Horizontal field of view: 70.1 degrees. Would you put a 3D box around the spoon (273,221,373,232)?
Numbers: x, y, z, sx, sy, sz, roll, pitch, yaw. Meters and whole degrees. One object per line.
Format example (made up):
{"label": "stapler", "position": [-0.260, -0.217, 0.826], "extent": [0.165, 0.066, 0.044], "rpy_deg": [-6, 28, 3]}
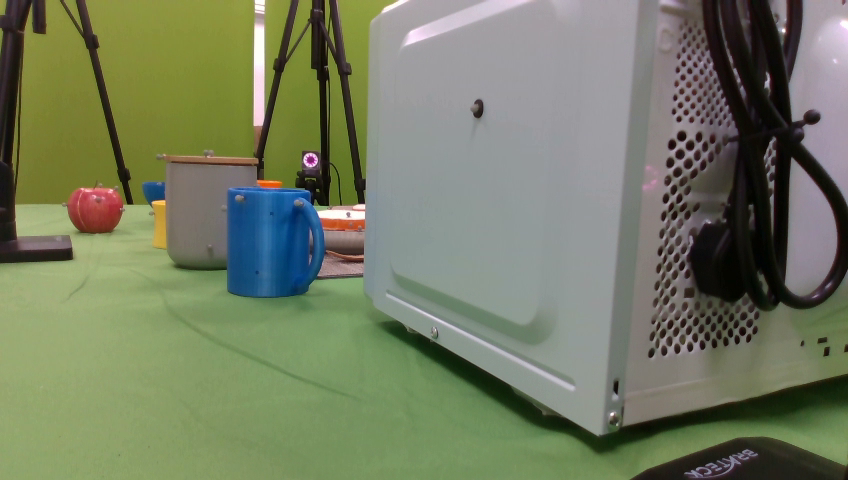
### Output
{"label": "spoon", "position": [-0.181, -0.027, 1.109], "extent": [0.195, 0.021, 0.041], "rpy_deg": [-4, -13, -33]}

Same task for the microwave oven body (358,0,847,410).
{"label": "microwave oven body", "position": [0.210, -0.051, 0.471], "extent": [0.444, 0.260, 0.324], "rpy_deg": [-1, 7, -28]}

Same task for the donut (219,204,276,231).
{"label": "donut", "position": [-0.316, -0.039, 1.083], "extent": [0.099, 0.048, 0.099], "rpy_deg": [2, 7, 0]}

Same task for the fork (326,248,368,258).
{"label": "fork", "position": [-0.032, 0.015, 0.835], "extent": [0.208, 0.018, 0.028], "rpy_deg": [-3, 1, -24]}

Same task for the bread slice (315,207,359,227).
{"label": "bread slice", "position": [-0.127, -0.035, 0.933], "extent": [0.134, 0.018, 0.107], "rpy_deg": [4, 11, 27]}

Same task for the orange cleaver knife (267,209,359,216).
{"label": "orange cleaver knife", "position": [-0.259, -0.064, 1.423], "extent": [0.212, 0.012, 0.077], "rpy_deg": [-4, 3, -30]}

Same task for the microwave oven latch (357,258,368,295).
{"label": "microwave oven latch", "position": [-0.019, 0.031, 0.529], "extent": [0.079, 0.029, 0.030], "rpy_deg": [-1, 7, -27]}

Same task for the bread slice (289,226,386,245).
{"label": "bread slice", "position": [-0.125, -0.008, 0.938], "extent": [0.131, 0.019, 0.105], "rpy_deg": [5, 7, 31]}

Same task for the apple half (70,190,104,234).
{"label": "apple half", "position": [-0.552, -0.047, 1.009], "extent": [0.053, 0.074, 0.081], "rpy_deg": [0, 9, 26]}

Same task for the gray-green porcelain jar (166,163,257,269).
{"label": "gray-green porcelain jar", "position": [-0.263, -0.031, 0.754], "extent": [0.106, 0.126, 0.106], "rpy_deg": [2, 7, 0]}

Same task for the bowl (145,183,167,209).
{"label": "bowl", "position": [-0.459, -0.068, 1.175], "extent": [0.151, 0.077, 0.151], "rpy_deg": [3, 7, 0]}

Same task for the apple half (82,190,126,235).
{"label": "apple half", "position": [-0.517, -0.046, 0.994], "extent": [0.032, 0.081, 0.081], "rpy_deg": [0, 6, 26]}

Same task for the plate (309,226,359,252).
{"label": "plate", "position": [-0.130, -0.011, 0.945], "extent": [0.208, 0.039, 0.207], "rpy_deg": [2, 7, 0]}

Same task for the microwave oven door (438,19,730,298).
{"label": "microwave oven door", "position": [0.181, -0.076, 0.618], "extent": [0.358, 0.243, 0.039], "rpy_deg": [-2, 8, -28]}

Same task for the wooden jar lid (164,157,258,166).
{"label": "wooden jar lid", "position": [-0.261, -0.093, 0.746], "extent": [0.108, 0.020, 0.108], "rpy_deg": [0, 9, 0]}

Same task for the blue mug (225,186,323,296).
{"label": "blue mug", "position": [-0.148, 0.000, 0.618], "extent": [0.116, 0.106, 0.083], "rpy_deg": [7, 9, 33]}

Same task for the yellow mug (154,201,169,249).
{"label": "yellow mug", "position": [-0.338, -0.022, 0.899], "extent": [0.130, 0.064, 0.100], "rpy_deg": [8, 9, 34]}

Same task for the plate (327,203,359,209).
{"label": "plate", "position": [-0.102, -0.053, 1.299], "extent": [0.209, 0.038, 0.209], "rpy_deg": [2, 8, 0]}
